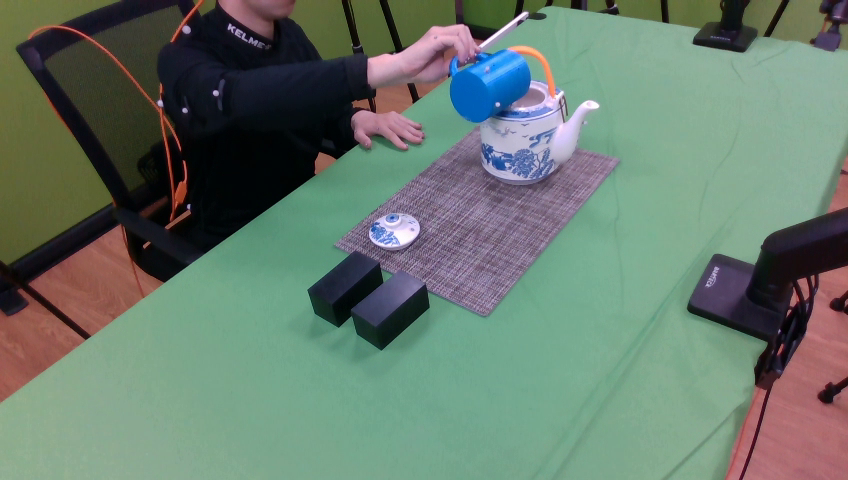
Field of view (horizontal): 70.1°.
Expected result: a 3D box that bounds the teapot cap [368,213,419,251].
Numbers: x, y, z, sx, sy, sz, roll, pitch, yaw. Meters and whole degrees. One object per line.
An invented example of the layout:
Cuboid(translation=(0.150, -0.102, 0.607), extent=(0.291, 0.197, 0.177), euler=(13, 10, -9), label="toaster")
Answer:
Cuboid(translation=(-0.050, -0.019, 0.975), extent=(0.085, 0.044, 0.084), euler=(-4, 43, 4), label="teapot cap")

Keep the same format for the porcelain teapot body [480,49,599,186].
Cuboid(translation=(0.193, -0.208, 1.023), extent=(0.204, 0.226, 0.145), euler=(16, 46, 25), label="porcelain teapot body")

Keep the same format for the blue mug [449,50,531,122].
Cuboid(translation=(0.092, -0.252, 0.944), extent=(0.116, 0.082, 0.106), euler=(47, 54, 10), label="blue mug")
